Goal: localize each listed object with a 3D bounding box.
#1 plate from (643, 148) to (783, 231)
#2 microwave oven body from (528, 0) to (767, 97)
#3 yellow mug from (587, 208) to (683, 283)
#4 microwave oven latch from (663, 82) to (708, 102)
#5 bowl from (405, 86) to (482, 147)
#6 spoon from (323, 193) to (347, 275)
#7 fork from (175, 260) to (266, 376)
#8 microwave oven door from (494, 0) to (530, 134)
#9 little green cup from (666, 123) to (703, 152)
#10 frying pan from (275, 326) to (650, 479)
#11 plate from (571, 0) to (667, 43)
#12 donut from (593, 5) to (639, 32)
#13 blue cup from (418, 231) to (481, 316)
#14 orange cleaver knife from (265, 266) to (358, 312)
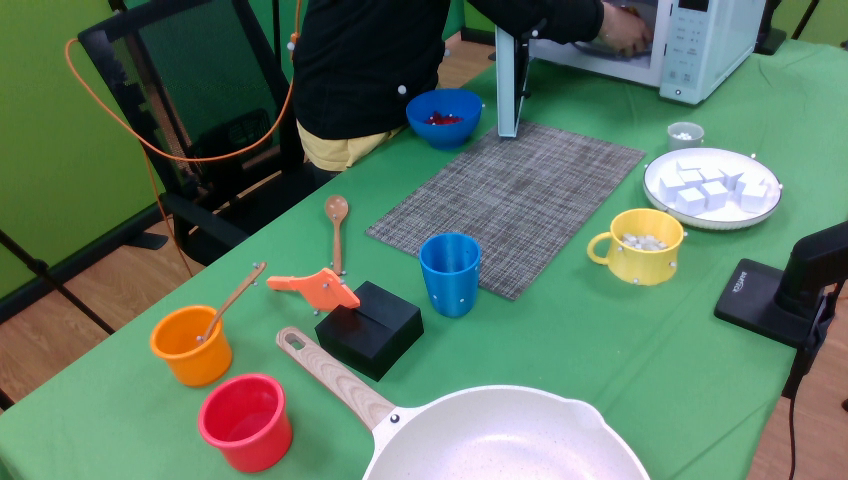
[{"bbox_3d":[0.465,-0.080,0.986,0.207,0.039,0.206,-4,41,4],"label":"plate"},{"bbox_3d":[0.473,-0.516,1.313,0.438,0.261,0.327,26,51,34],"label":"microwave oven body"},{"bbox_3d":[0.305,0.009,0.884,0.131,0.064,0.099,-4,41,5],"label":"yellow mug"},{"bbox_3d":[0.518,-0.299,1.202,0.030,0.029,0.078,-37,48,-29],"label":"microwave oven latch"},{"bbox_3d":[0.041,-0.236,1.197,0.151,0.077,0.150,-4,40,4],"label":"bowl"},{"bbox_3d":[-0.148,-0.014,1.008,0.042,0.021,0.192,5,39,-13],"label":"spoon"},{"bbox_3d":[-0.268,0.103,0.792,0.207,0.019,0.028,-51,41,16],"label":"fork"},{"bbox_3d":[0.182,-0.411,1.224,0.039,0.245,0.355,3,41,13],"label":"microwave oven door"},{"bbox_3d":[0.472,-0.183,1.102,0.061,0.039,0.061,-5,39,4],"label":"little green cup"},{"bbox_3d":[0.003,0.229,0.641,0.484,0.103,0.308,34,54,28],"label":"frying pan"},{"bbox_3d":[0.437,-0.492,1.366,0.209,0.038,0.208,-6,39,5],"label":"plate"},{"bbox_3d":[0.431,-0.493,1.354,0.099,0.048,0.098,-4,42,4],"label":"donut"},{"bbox_3d":[0.039,0.052,0.843,0.092,0.100,0.092,-4,43,4],"label":"blue cup"},{"bbox_3d":[-0.165,0.073,0.864,0.210,0.077,0.012,-6,31,50],"label":"orange cleaver knife"}]
